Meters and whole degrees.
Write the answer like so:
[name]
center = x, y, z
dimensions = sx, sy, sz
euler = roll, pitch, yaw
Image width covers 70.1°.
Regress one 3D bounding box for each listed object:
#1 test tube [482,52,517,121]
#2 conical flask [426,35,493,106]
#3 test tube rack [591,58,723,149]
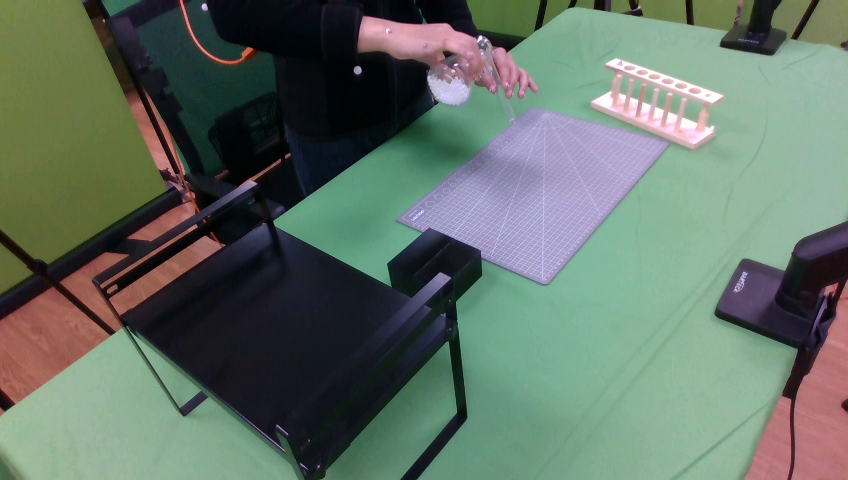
[test tube]
center = 0.131, -0.259, 1.034
dimensions = 0.017, 0.151, 0.017
euler = -15, 51, 19
[conical flask]
center = 0.063, -0.271, 0.937
dimensions = 0.075, 0.076, 0.122
euler = 19, 55, 28
[test tube rack]
center = 0.442, -0.269, 1.171
dimensions = 0.067, 0.085, 0.240
euler = -30, 46, -24
